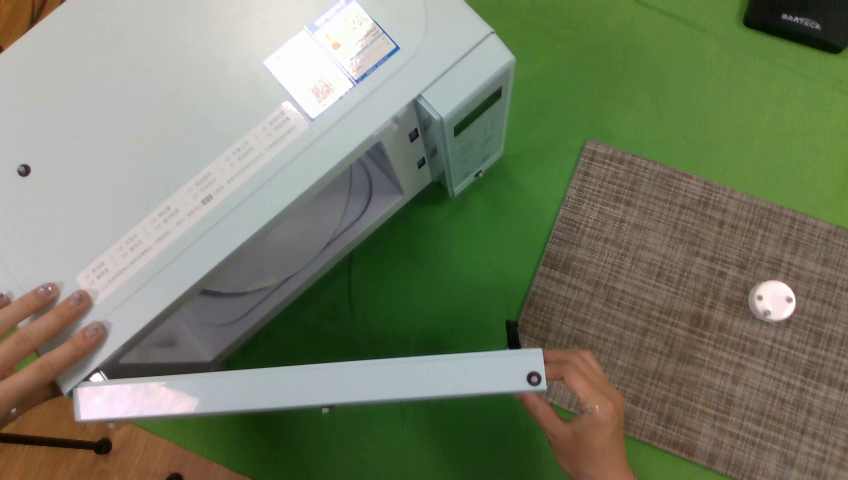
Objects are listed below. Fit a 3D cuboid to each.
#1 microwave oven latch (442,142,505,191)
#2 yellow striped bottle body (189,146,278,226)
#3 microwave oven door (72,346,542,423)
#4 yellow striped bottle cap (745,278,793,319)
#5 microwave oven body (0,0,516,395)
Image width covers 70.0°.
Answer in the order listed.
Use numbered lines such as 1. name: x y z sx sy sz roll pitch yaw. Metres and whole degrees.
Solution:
1. microwave oven latch: 0.056 -0.092 0.689 0.079 0.029 0.030 -39 80 -2
2. yellow striped bottle body: -0.193 -0.054 0.611 0.063 0.120 0.062 0 81 0
3. microwave oven door: -0.080 0.127 0.558 0.356 0.245 0.039 -5 79 3
4. yellow striped bottle cap: 0.378 0.064 0.663 0.044 0.019 0.044 -1 80 6
5. microwave oven body: -0.182 -0.103 0.610 0.441 0.261 0.324 -41 80 -3
